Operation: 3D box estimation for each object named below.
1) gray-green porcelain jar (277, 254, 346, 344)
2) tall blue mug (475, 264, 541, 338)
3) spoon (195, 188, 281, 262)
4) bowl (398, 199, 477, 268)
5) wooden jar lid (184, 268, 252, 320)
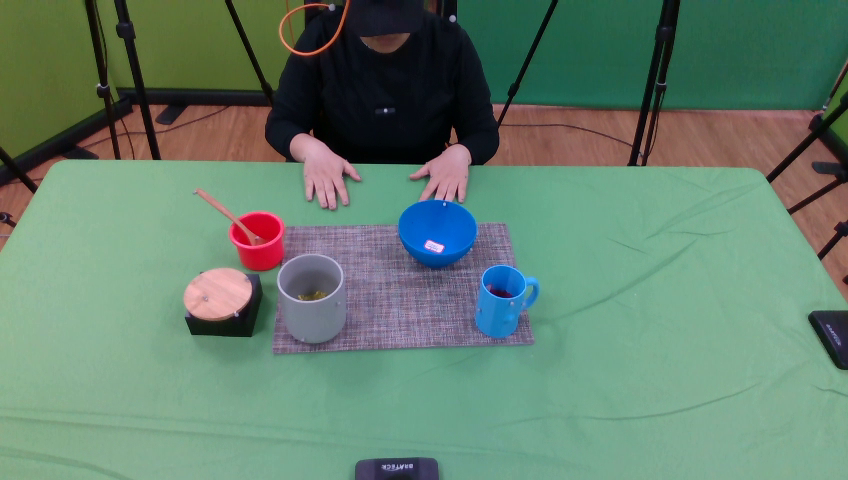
[{"bbox_3d":[-0.184,0.102,1.008,0.106,0.127,0.105,2,46,-2],"label":"gray-green porcelain jar"},{"bbox_3d":[0.142,0.098,1.047,0.077,0.108,0.107,33,53,27],"label":"tall blue mug"},{"bbox_3d":[-0.342,-0.028,1.117,0.194,0.021,0.041,47,49,-20],"label":"spoon"},{"bbox_3d":[0.024,0.000,1.156,0.151,0.077,0.150,2,46,-2],"label":"bowl"},{"bbox_3d":[-0.343,0.092,1.015,0.108,0.021,0.107,3,46,-3],"label":"wooden jar lid"}]
